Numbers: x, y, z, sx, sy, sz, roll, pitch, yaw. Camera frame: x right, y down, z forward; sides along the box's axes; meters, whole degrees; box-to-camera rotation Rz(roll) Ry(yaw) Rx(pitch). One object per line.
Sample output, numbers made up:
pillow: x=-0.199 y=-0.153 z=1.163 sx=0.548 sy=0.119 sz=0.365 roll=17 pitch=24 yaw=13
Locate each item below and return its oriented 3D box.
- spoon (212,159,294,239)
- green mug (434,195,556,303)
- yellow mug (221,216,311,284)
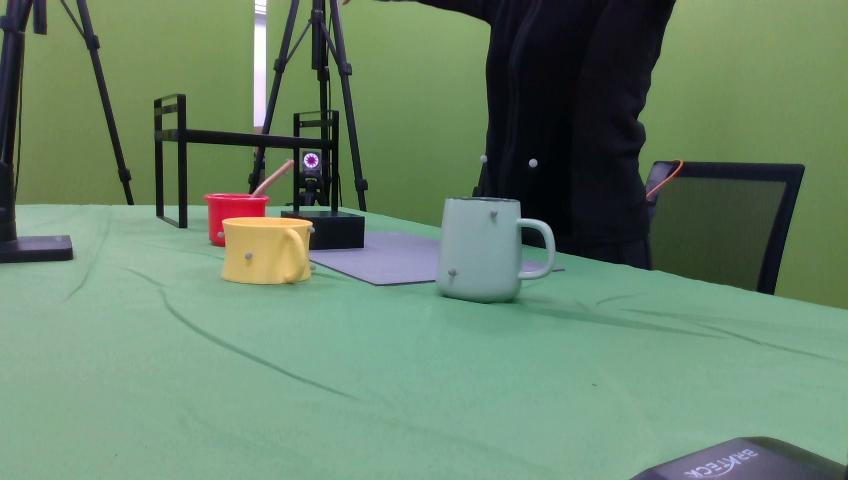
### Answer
spoon: x=-0.269 y=-0.069 z=0.970 sx=0.041 sy=0.022 sz=0.194 roll=3 pitch=50 yaw=44
green mug: x=0.074 y=0.009 z=0.624 sx=0.125 sy=0.105 sz=0.093 roll=6 pitch=7 yaw=23
yellow mug: x=-0.171 y=0.011 z=0.686 sx=0.100 sy=0.064 sz=0.130 roll=-5 pitch=11 yaw=-42
